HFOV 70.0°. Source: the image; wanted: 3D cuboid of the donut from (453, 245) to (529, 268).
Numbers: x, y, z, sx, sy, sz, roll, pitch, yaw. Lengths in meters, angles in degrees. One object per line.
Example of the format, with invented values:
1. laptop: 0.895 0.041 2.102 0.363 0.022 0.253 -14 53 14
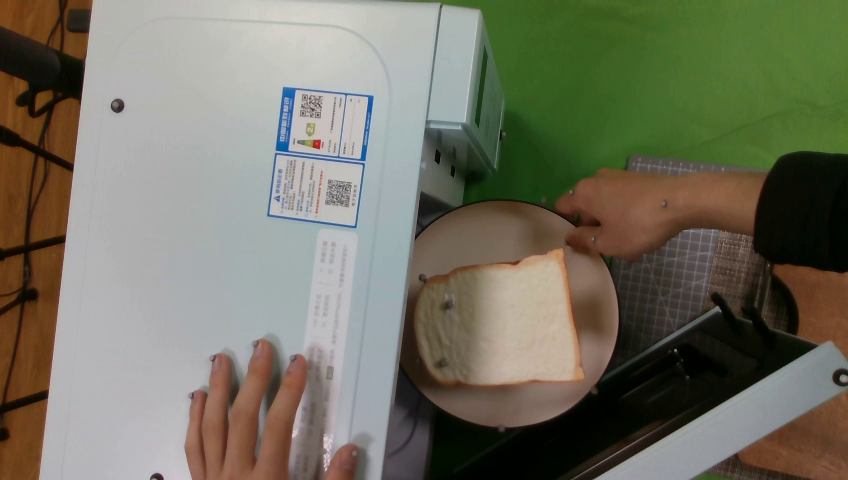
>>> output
1. donut: 0.067 0.050 0.539 0.099 0.048 0.099 1 111 2

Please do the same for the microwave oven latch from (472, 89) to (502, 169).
1. microwave oven latch: 0.063 -0.114 0.619 0.030 0.029 0.079 7 91 11

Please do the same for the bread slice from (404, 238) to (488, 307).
1. bread slice: 0.040 0.049 0.581 0.132 0.019 0.105 7 102 -4

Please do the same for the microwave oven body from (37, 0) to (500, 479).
1. microwave oven body: -0.122 0.042 0.555 0.325 0.261 0.441 7 91 11

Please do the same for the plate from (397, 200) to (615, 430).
1. plate: 0.066 0.067 0.557 0.207 0.039 0.207 0 92 7

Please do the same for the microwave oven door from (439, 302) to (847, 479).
1. microwave oven door: 0.130 0.172 0.500 0.356 0.244 0.039 -36 82 9

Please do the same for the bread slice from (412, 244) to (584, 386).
1. bread slice: 0.057 0.070 0.498 0.134 0.018 0.107 -14 90 14
